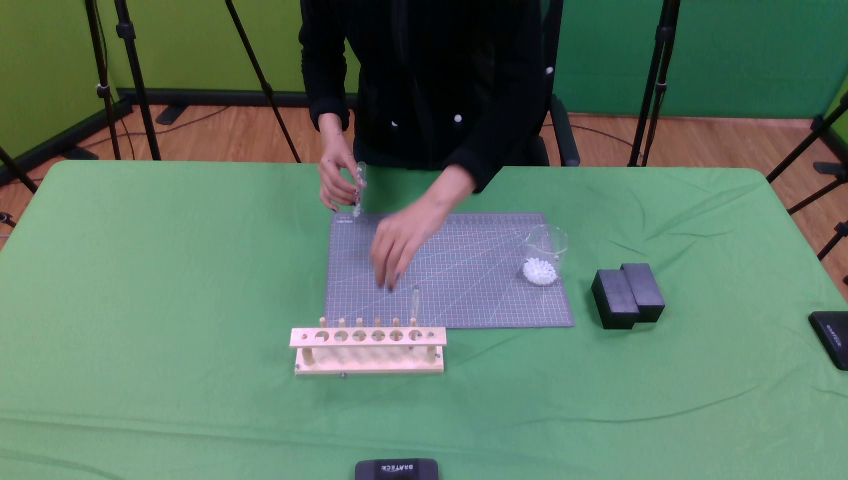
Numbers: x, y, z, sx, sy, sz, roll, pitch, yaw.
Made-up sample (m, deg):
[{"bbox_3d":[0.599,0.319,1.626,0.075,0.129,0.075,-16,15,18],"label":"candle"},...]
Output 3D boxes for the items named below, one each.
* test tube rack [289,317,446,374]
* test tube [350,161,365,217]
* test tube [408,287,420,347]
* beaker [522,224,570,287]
[{"bbox_3d":[-0.089,0.167,0.987,0.242,0.085,0.066,0,46,-4],"label":"test tube rack"},{"bbox_3d":[-0.120,-0.088,1.088,0.017,0.151,0.017,6,55,-8],"label":"test tube"},{"bbox_3d":[-0.017,0.124,0.972,0.017,0.151,0.017,2,47,-2],"label":"test tube"},{"bbox_3d":[0.221,0.032,1.129,0.084,0.101,0.073,-6,46,-9],"label":"beaker"}]
